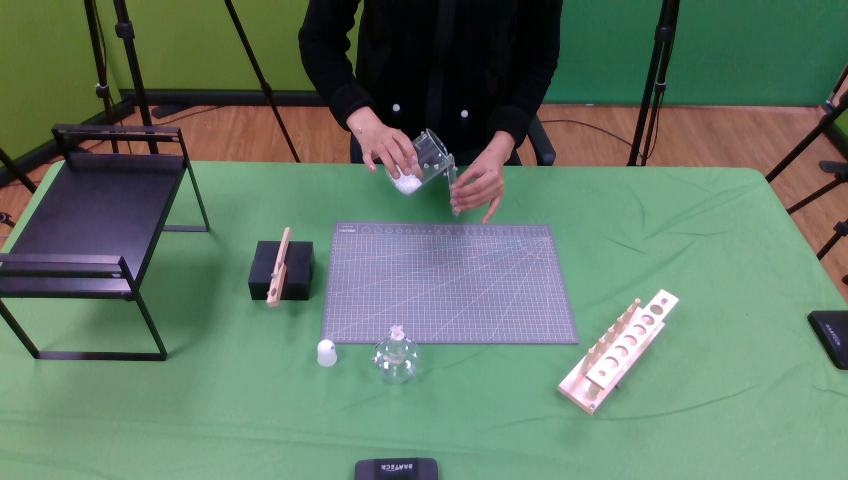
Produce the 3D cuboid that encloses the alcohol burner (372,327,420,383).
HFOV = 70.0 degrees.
[{"bbox_3d":[-0.044,0.175,0.961,0.078,0.120,0.077,1,47,-1],"label":"alcohol burner"}]

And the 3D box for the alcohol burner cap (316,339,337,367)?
[{"bbox_3d":[-0.161,0.182,0.995,0.034,0.048,0.033,2,47,-1],"label":"alcohol burner cap"}]

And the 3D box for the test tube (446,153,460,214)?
[{"bbox_3d":[0.053,-0.099,1.105,0.017,0.151,0.017,-4,52,5],"label":"test tube"}]

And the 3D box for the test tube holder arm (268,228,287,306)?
[{"bbox_3d":[-0.258,0.043,1.071,0.013,0.015,0.177,-6,46,1],"label":"test tube holder arm"}]

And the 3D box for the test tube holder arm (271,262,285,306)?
[{"bbox_3d":[-0.250,0.075,1.040,0.010,0.015,0.087,-5,46,2],"label":"test tube holder arm"}]

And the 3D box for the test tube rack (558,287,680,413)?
[{"bbox_3d":[0.326,0.170,1.009,0.066,0.085,0.242,36,54,26],"label":"test tube rack"}]

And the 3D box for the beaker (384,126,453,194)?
[{"bbox_3d":[-0.010,-0.131,1.022,0.100,0.084,0.073,-36,64,15],"label":"beaker"}]
